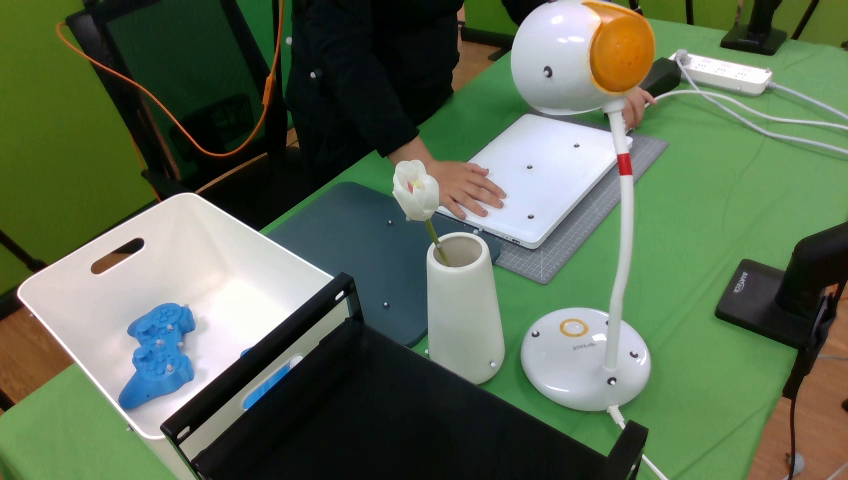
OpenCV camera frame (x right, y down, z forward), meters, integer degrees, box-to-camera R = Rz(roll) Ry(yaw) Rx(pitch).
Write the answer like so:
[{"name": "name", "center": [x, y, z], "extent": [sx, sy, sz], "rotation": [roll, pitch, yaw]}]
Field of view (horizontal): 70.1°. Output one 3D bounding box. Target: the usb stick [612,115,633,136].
[{"name": "usb stick", "center": [0.375, -0.211, 1.153], "extent": [0.021, 0.027, 0.059], "rotation": [27, 59, 26]}]

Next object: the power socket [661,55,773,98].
[{"name": "power socket", "center": [0.619, -0.352, 1.289], "extent": [0.225, 0.033, 0.072], "rotation": [26, 52, 33]}]

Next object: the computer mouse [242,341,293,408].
[{"name": "computer mouse", "center": [-0.200, 0.178, 0.776], "extent": [0.063, 0.041, 0.116], "rotation": [-11, 43, -8]}]

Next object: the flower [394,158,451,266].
[{"name": "flower", "center": [0.028, 0.035, 0.664], "extent": [0.043, 0.364, 0.038], "rotation": [36, 73, 30]}]

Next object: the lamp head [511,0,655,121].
[{"name": "lamp head", "center": [0.156, -0.168, 0.563], "extent": [0.113, 0.113, 0.122], "rotation": [-18, 23, -12]}]

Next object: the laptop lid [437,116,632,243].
[{"name": "laptop lid", "center": [0.190, -0.125, 1.082], "extent": [0.239, 0.013, 0.358], "rotation": [22, 48, 35]}]

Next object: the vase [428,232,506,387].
[{"name": "vase", "center": [0.050, 0.087, 0.728], "extent": [0.098, 0.201, 0.097], "rotation": [-3, 40, 3]}]

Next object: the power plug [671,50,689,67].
[{"name": "power plug", "center": [0.540, -0.379, 1.302], "extent": [0.073, 0.053, 0.035], "rotation": [-30, 46, -22]}]

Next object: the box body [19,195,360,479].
[{"name": "box body", "center": [-0.288, 0.118, 0.772], "extent": [0.361, 0.161, 0.255], "rotation": [26, 50, 33]}]

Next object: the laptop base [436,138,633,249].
[{"name": "laptop base", "center": [0.193, -0.117, 1.087], "extent": [0.233, 0.023, 0.355], "rotation": [20, 48, 35]}]

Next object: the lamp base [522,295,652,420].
[{"name": "lamp base", "center": [0.201, 0.095, 0.710], "extent": [0.161, 0.181, 0.178], "rotation": [-16, 43, -10]}]

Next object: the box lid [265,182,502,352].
[{"name": "box lid", "center": [-0.087, 0.023, 0.971], "extent": [0.368, 0.015, 0.264], "rotation": [23, 49, 31]}]

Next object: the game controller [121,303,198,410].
[{"name": "game controller", "center": [-0.364, 0.149, 0.828], "extent": [0.097, 0.052, 0.154], "rotation": [-13, 41, -9]}]
